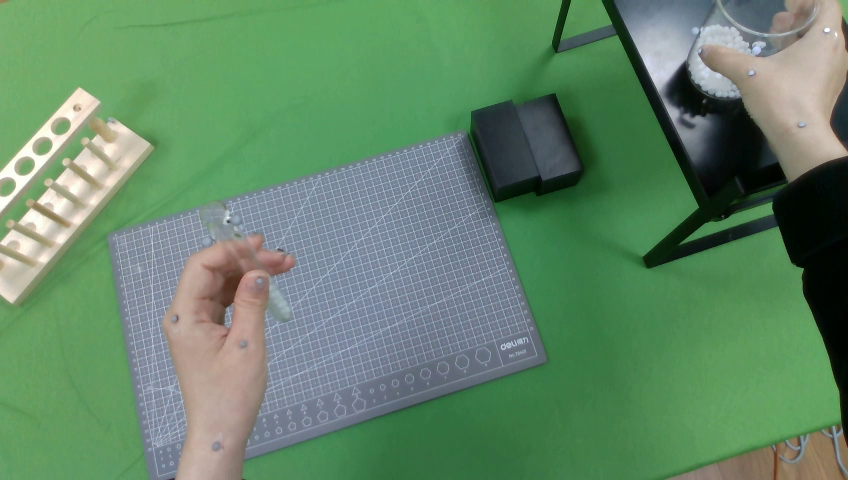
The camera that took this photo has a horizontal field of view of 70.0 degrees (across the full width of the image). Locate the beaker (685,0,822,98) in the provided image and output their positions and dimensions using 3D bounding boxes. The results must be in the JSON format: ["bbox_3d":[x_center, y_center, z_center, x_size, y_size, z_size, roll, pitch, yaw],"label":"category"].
[{"bbox_3d":[0.264,-0.172,0.505,0.083,0.101,0.073,17,74,12],"label":"beaker"}]

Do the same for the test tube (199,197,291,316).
[{"bbox_3d":[-0.111,0.017,0.394,0.017,0.151,0.017,-1,62,3],"label":"test tube"}]

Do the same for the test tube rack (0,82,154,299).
[{"bbox_3d":[-0.434,-0.055,0.697,0.066,0.085,0.242,34,78,11],"label":"test tube rack"}]
